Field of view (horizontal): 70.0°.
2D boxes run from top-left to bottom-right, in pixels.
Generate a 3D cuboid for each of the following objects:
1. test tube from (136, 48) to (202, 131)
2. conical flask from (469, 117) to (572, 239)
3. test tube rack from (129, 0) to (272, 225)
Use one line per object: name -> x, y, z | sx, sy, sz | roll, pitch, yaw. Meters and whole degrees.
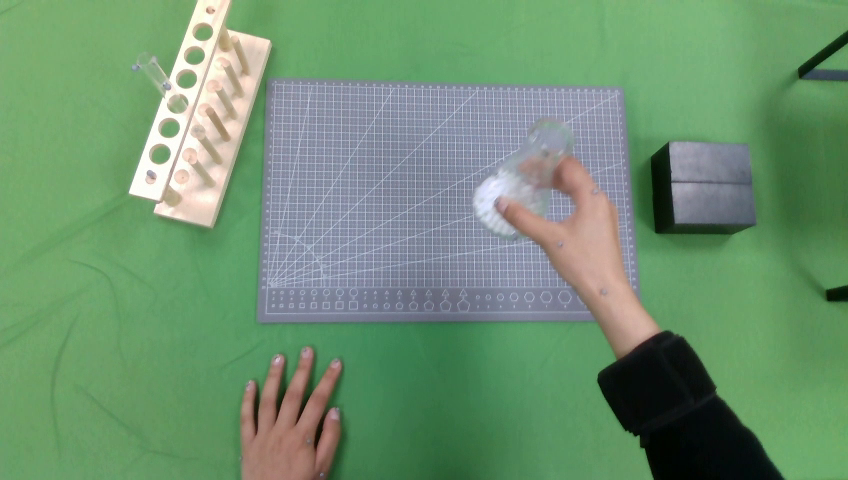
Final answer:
test tube -> -0.263, -0.153, 0.637 | 0.017, 0.151, 0.017 | 1, 74, -2
conical flask -> 0.089, -0.057, 0.531 | 0.075, 0.122, 0.074 | 5, 65, -10
test tube rack -> -0.246, -0.148, 0.687 | 0.067, 0.085, 0.241 | 15, 77, -2
